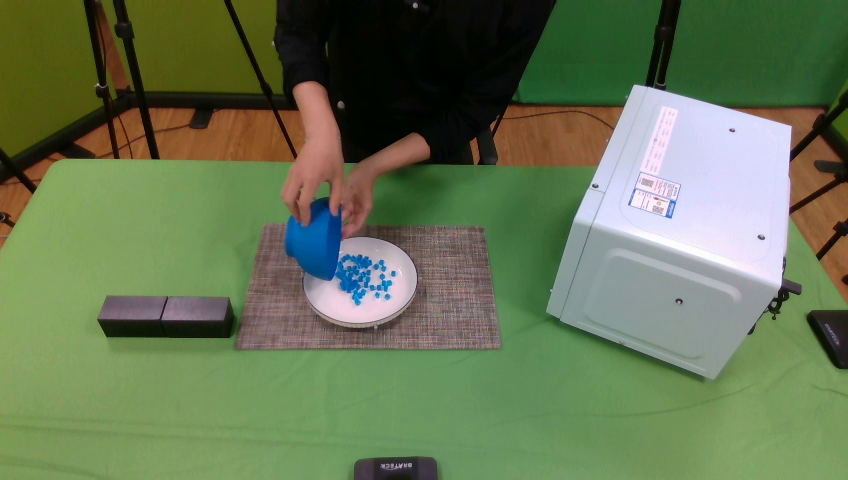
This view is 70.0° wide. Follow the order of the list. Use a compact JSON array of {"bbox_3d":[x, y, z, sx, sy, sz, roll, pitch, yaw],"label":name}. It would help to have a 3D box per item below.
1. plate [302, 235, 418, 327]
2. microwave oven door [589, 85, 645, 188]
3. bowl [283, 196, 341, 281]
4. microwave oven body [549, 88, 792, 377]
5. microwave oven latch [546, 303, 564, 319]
[{"bbox_3d":[-0.115,0.076,1.098,0.208,0.039,0.206,2,46,-2],"label":"plate"},{"bbox_3d":[0.342,-0.107,1.149,0.039,0.245,0.354,20,48,15],"label":"microwave oven door"},{"bbox_3d":[-0.195,-0.005,1.047,0.077,0.152,0.150,4,46,1],"label":"bowl"},{"bbox_3d":[0.456,-0.028,1.088,0.325,0.261,0.440,20,47,16],"label":"microwave oven body"},{"bbox_3d":[0.242,0.102,1.081,0.030,0.029,0.079,21,48,17],"label":"microwave oven latch"}]
